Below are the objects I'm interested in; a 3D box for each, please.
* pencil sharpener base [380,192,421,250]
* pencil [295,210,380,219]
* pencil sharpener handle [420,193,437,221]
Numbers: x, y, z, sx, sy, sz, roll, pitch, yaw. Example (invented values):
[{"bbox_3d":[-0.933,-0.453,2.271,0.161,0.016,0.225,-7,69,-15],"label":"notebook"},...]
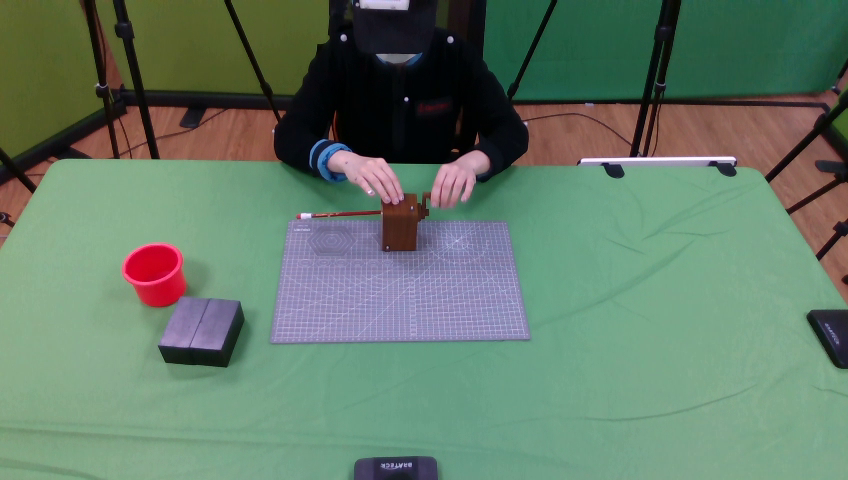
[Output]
[{"bbox_3d":[-0.046,-0.035,1.163,0.077,0.107,0.061,0,46,-5],"label":"pencil sharpener base"},{"bbox_3d":[-0.146,-0.050,1.143,0.194,0.012,0.012,-3,46,2],"label":"pencil"},{"bbox_3d":[0.008,-0.064,1.135,0.031,0.068,0.036,0,53,-5],"label":"pencil sharpener handle"}]
